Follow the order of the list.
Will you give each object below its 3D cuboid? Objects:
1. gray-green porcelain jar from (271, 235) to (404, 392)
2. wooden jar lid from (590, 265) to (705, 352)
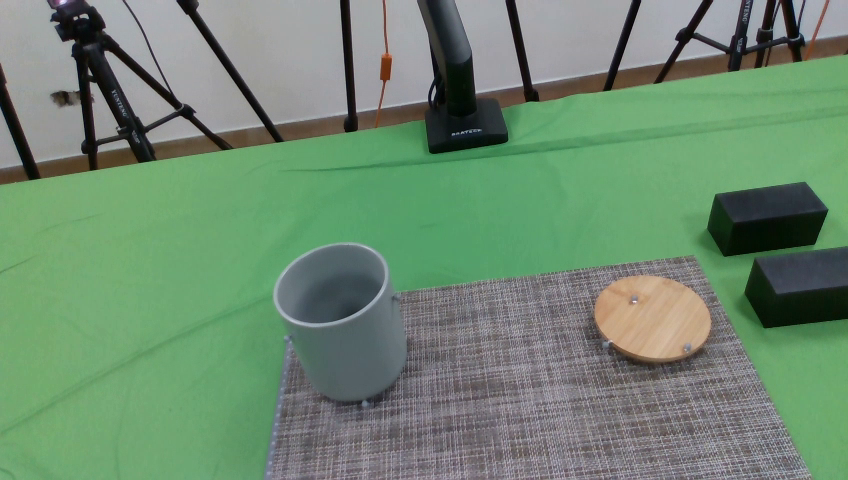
[{"bbox_3d":[-0.077,0.075,0.580,0.106,0.128,0.105,-5,43,5],"label":"gray-green porcelain jar"},{"bbox_3d":[0.222,0.070,0.606,0.108,0.021,0.107,-6,44,6],"label":"wooden jar lid"}]
